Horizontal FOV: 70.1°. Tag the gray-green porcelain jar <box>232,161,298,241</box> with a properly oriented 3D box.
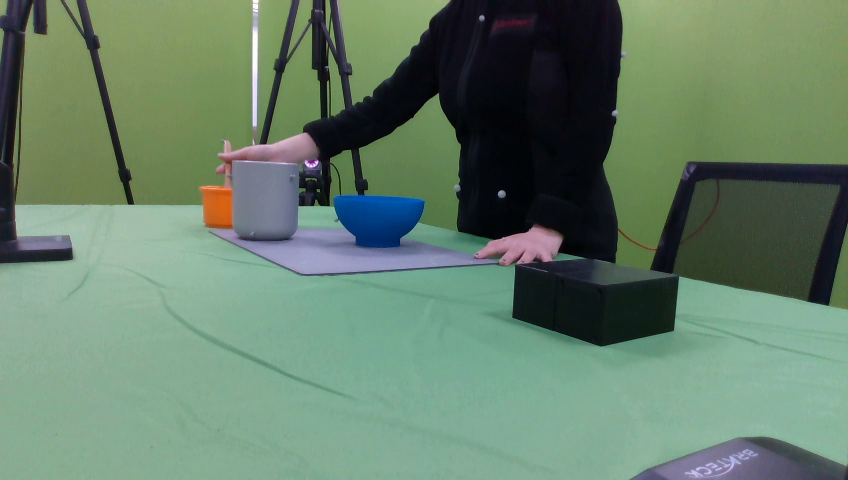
[{"bbox_3d":[-0.262,-0.065,0.999,0.106,0.126,0.106,3,7,0],"label":"gray-green porcelain jar"}]

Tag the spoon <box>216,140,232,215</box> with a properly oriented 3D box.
[{"bbox_3d":[-0.387,-0.126,1.194,0.042,0.193,0.021,4,-32,-22],"label":"spoon"}]

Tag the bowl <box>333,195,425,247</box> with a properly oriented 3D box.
[{"bbox_3d":[-0.074,-0.031,0.987,0.151,0.077,0.151,2,7,0],"label":"bowl"}]
